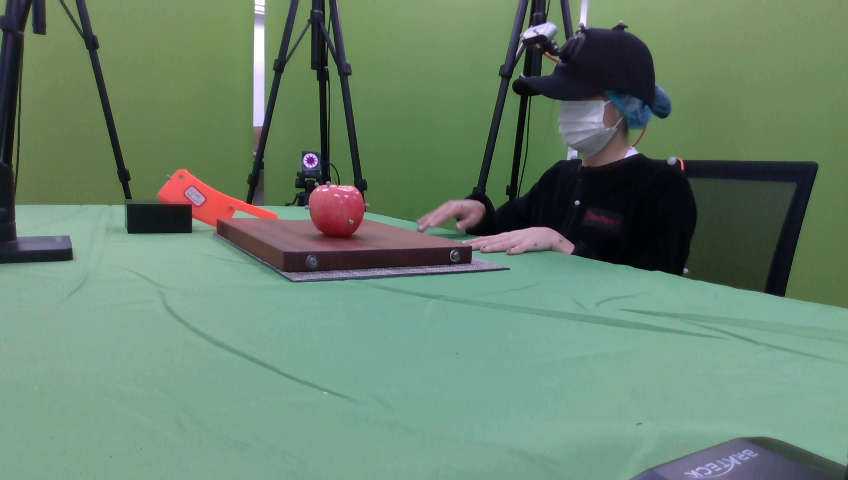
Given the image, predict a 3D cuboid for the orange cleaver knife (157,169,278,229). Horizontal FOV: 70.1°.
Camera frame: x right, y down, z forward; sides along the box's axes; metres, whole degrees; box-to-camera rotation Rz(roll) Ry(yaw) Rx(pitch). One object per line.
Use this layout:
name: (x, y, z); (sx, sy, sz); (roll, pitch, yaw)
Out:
orange cleaver knife: (-0.377, -0.061, 1.116); (0.212, 0.077, 0.012); (25, -7, -28)

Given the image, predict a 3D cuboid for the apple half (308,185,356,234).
apple half: (-0.143, -0.047, 0.907); (0.082, 0.081, 0.032); (-1, 12, -31)

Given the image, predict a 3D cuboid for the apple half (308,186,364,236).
apple half: (-0.123, -0.041, 0.874); (0.081, 0.074, 0.053); (4, 9, -32)
